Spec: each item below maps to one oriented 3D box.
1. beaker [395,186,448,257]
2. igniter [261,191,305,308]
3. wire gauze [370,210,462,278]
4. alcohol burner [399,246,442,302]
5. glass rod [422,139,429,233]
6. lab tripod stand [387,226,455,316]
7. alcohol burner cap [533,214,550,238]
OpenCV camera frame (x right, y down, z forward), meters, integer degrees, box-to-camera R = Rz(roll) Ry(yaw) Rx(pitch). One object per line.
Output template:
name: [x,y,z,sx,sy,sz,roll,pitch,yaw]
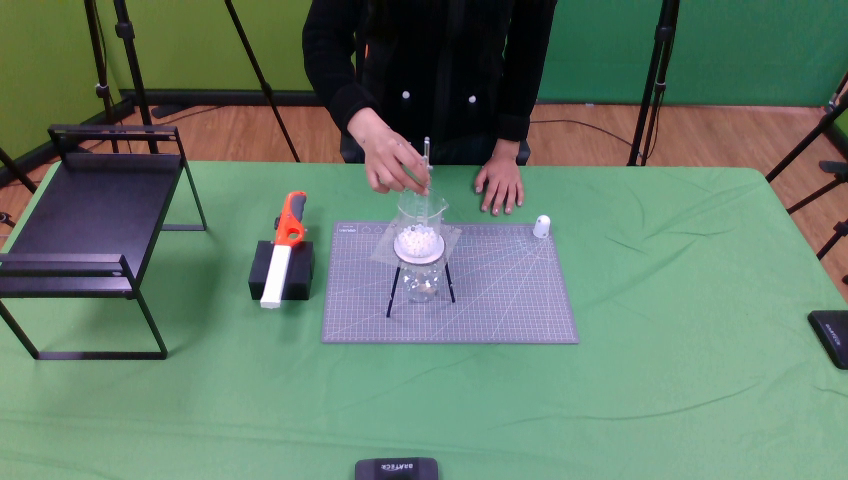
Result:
beaker: [-0.006,-0.027,0.985,0.084,0.101,0.073,1,48,-4]
igniter: [-0.255,0.007,1.104,0.057,0.025,0.275,5,47,-4]
wire gauze: [-0.012,0.007,1.019,0.121,0.011,0.124,16,51,13]
alcohol burner: [-0.006,0.055,1.078,0.078,0.119,0.077,3,44,-3]
glass rod: [0.002,-0.078,0.945,0.008,0.201,0.008,1,49,-1]
lab tripod stand: [-0.013,0.055,1.064,0.148,0.132,0.147,2,48,-2]
alcohol burner cap: [0.241,-0.031,1.229,0.034,0.048,0.033,1,46,-1]
